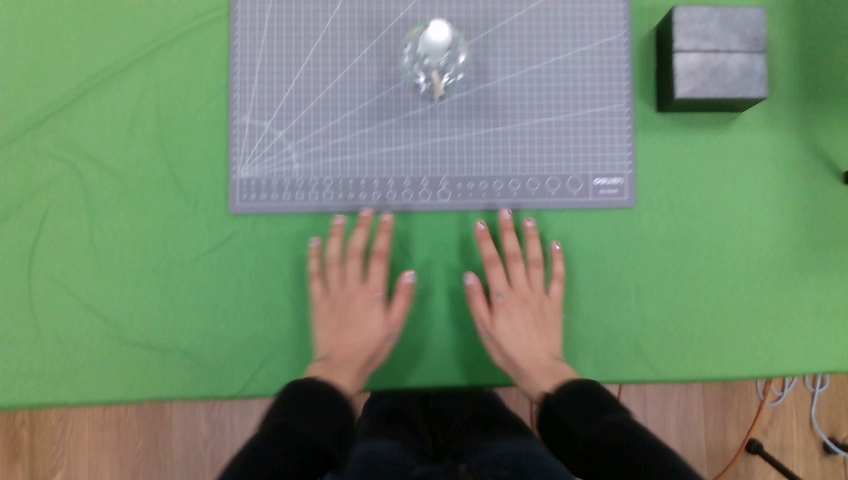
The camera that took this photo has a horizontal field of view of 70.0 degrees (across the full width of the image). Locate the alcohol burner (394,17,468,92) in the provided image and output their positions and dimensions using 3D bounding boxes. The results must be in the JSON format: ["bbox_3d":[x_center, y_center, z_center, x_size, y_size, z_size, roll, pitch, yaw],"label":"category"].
[{"bbox_3d":[0.008,-0.198,0.624,0.078,0.119,0.078,0,86,-3],"label":"alcohol burner"}]

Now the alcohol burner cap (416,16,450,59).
[{"bbox_3d":[0.009,-0.199,0.589,0.034,0.048,0.034,0,89,-4],"label":"alcohol burner cap"}]
